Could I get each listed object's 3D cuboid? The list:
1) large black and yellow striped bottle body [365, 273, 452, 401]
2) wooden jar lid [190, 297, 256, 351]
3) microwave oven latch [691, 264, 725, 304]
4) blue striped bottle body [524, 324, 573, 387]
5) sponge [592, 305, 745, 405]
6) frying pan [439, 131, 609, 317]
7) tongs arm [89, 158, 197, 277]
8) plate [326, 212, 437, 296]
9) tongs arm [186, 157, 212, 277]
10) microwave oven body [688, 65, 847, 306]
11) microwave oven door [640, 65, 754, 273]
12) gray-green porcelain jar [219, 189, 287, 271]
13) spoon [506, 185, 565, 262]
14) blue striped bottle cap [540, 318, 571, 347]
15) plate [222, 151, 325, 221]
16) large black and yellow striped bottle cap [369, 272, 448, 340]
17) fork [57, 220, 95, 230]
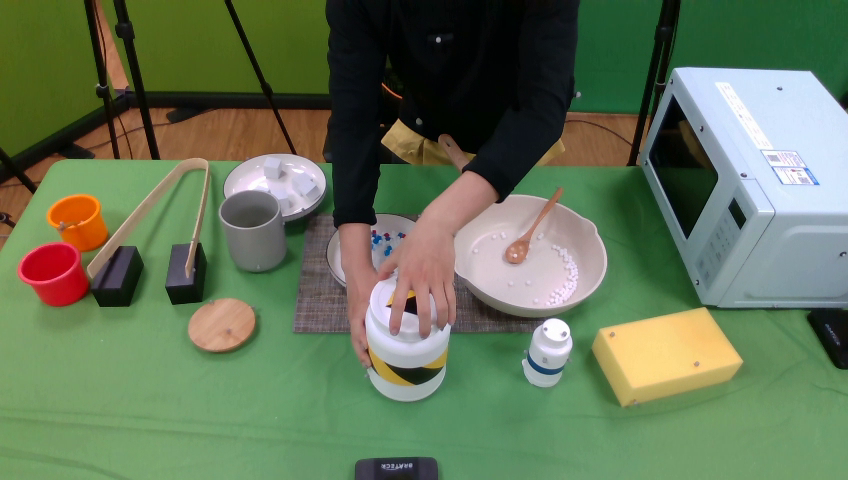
[{"bbox_3d":[-0.025,0.150,0.938,0.131,0.185,0.130,2,47,-2],"label":"large black and yellow striped bottle body"},{"bbox_3d":[-0.342,0.145,1.033,0.108,0.021,0.107,2,45,-2],"label":"wooden jar lid"},{"bbox_3d":[0.521,0.081,1.116,0.030,0.029,0.078,0,46,-3],"label":"microwave oven latch"},{"bbox_3d":[0.200,0.178,0.970,0.063,0.121,0.062,2,46,-2],"label":"blue striped bottle body"},{"bbox_3d":[0.405,0.190,1.015,0.207,0.061,0.117,-10,48,-13],"label":"sponge"},{"bbox_3d":[0.149,-0.049,1.189,0.307,0.103,0.484,-17,58,-20],"label":"frying pan"},{"bbox_3d":[-0.530,-0.058,1.163,0.028,0.028,0.385,1,36,7],"label":"tongs arm"},{"bbox_3d":[-0.080,0.030,1.143,0.209,0.038,0.208,2,46,-2],"label":"plate"},{"bbox_3d":[-0.445,-0.058,1.168,0.051,0.026,0.382,-4,37,-6],"label":"tongs arm"},{"bbox_3d":[0.669,-0.111,1.176,0.326,0.261,0.439,0,46,-3],"label":"microwave oven body"},{"bbox_3d":[0.523,-0.147,1.193,0.039,0.245,0.353,0,47,-3],"label":"microwave oven door"},{"bbox_3d":[-0.309,-0.014,1.114,0.106,0.127,0.105,2,47,-2],"label":"gray-green porcelain jar"},{"bbox_3d":[0.224,-0.034,1.188,0.041,0.022,0.193,31,79,28],"label":"spoon"},{"bbox_3d":[0.203,0.142,0.933,0.044,0.021,0.044,3,49,-3],"label":"blue striped bottle cap"},{"bbox_3d":[-0.310,-0.106,1.263,0.208,0.039,0.206,2,47,-2],"label":"plate"},{"bbox_3d":[-0.023,0.093,0.877,0.115,0.019,0.114,2,45,-2],"label":"large black and yellow striped bottle cap"},{"bbox_3d":[-0.624,-0.027,1.086,0.028,0.207,0.018,-3,92,-17],"label":"fork"}]
